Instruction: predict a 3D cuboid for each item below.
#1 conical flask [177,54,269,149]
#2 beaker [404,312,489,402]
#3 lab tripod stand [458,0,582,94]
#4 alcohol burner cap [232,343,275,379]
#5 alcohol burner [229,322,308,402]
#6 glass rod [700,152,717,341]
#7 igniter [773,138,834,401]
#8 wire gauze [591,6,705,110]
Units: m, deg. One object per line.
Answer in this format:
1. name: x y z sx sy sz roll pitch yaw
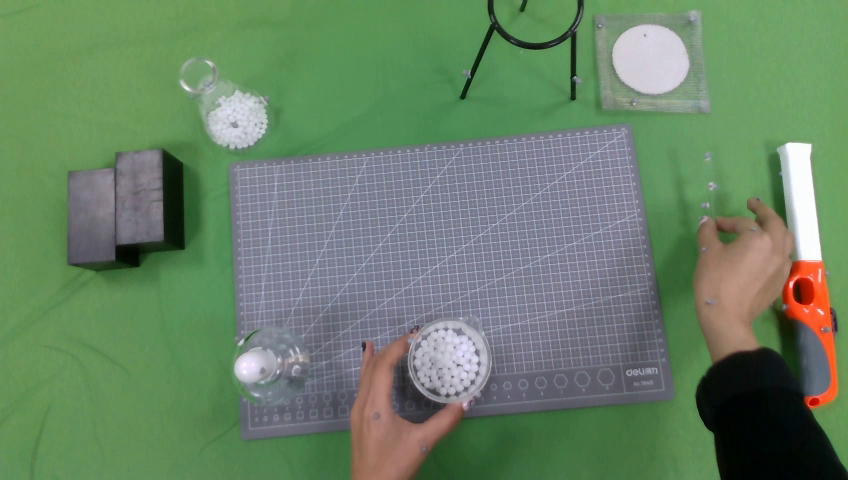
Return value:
1. conical flask: -0.213 -0.148 0.629 0.075 0.122 0.075 0 80 2
2. beaker: 0.022 0.109 0.575 0.074 0.100 0.084 31 79 6
3. lab tripod stand: 0.102 -0.211 0.627 0.148 0.132 0.148 0 82 2
4. alcohol burner cap: -0.156 0.111 0.550 0.034 0.048 0.034 0 84 -2
5. alcohol burner: -0.156 0.118 0.586 0.078 0.119 0.077 -1 80 4
6. glass rod: 0.299 0.008 0.636 0.008 0.008 0.200 -5 93 0
7. igniter: 0.396 0.028 0.635 0.057 0.025 0.275 2 81 -9
8. wire gauze: 0.254 -0.207 0.686 0.125 0.011 0.121 0 81 -1
